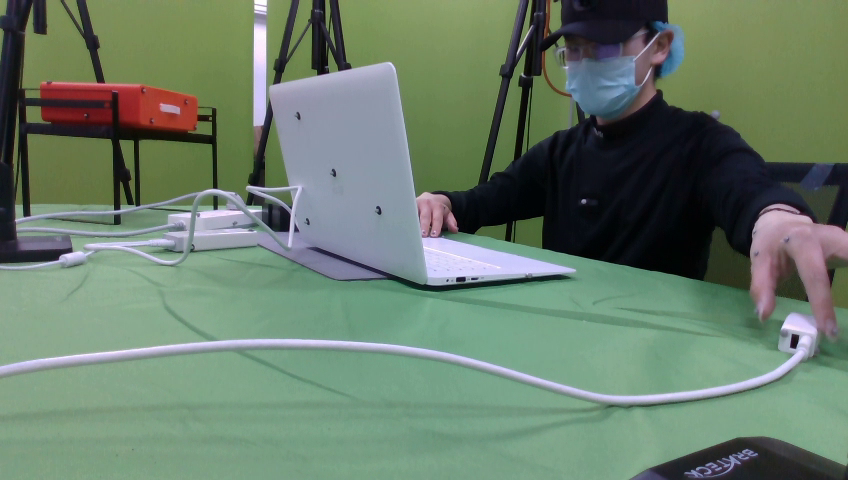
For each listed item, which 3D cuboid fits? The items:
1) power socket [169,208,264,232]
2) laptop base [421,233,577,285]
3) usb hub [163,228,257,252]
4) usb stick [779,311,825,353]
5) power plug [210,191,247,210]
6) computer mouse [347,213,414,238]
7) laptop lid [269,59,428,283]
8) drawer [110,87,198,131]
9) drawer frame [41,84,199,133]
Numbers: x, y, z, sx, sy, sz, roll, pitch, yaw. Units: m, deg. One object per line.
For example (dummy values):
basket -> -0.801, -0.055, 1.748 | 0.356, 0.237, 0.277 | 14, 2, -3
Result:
power socket -> -0.381, -0.038, 1.128 | 0.072, 0.032, 0.227 | 4, 8, 17
laptop base -> 0.007, 0.022, 0.850 | 0.237, 0.023, 0.352 | 1, 7, -34
usb hub -> -0.314, 0.000, 0.894 | 0.049, 0.025, 0.126 | 9, 11, 41
usb stick -> 0.311, 0.073, 0.496 | 0.027, 0.021, 0.059 | 8, 14, 35
power plug -> -0.386, -0.071, 1.204 | 0.072, 0.052, 0.035 | 8, 11, 25
computer mouse -> -0.079, -0.025, 1.080 | 0.117, 0.041, 0.062 | -5, 11, -18
laptop lid -> -0.110, -0.087, 0.752 | 0.013, 0.241, 0.355 | -18, 19, -30
drawer -> -0.602, -0.263, 1.225 | 0.211, 0.073, 0.195 | 3, 8, 10
drawer frame -> -0.604, -0.264, 1.225 | 0.213, 0.082, 0.202 | 3, 8, 8
